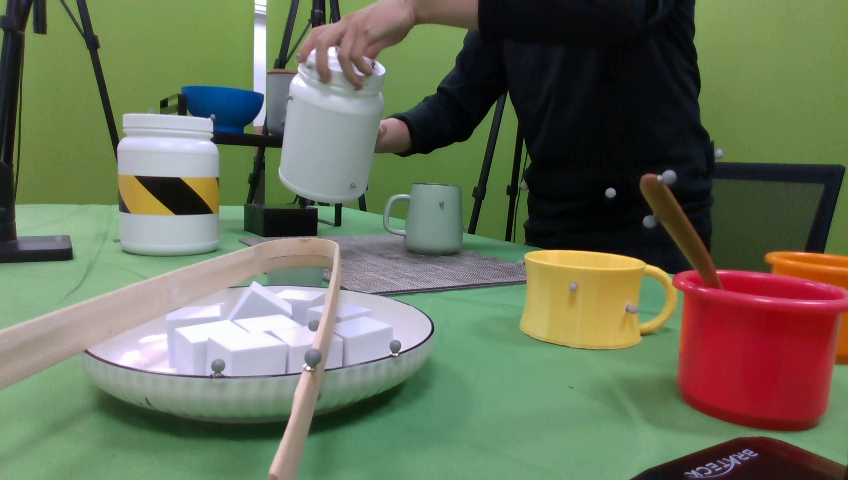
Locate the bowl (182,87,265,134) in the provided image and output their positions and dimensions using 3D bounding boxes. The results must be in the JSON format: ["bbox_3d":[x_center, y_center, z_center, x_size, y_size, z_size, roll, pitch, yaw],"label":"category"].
[{"bbox_3d":[-0.383,-0.244,1.158,0.151,0.077,0.151,2,7,0],"label":"bowl"}]

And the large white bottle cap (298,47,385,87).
[{"bbox_3d":[-0.110,-0.233,0.812,0.115,0.018,0.114,12,29,-7],"label":"large white bottle cap"}]

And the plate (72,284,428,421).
[{"bbox_3d":[-0.102,0.066,0.381,0.208,0.039,0.207,3,7,0],"label":"plate"}]

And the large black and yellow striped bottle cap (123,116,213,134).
[{"bbox_3d":[-0.353,-0.159,0.838,0.115,0.019,0.115,2,6,0],"label":"large black and yellow striped bottle cap"}]

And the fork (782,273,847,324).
[{"bbox_3d":[0.332,0.018,0.443,0.028,0.018,0.207,-3,-35,-16],"label":"fork"}]

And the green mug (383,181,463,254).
[{"bbox_3d":[-0.001,-0.036,0.922,0.126,0.105,0.092,0,8,-15],"label":"green mug"}]

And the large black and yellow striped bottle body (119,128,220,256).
[{"bbox_3d":[-0.355,-0.076,0.850,0.131,0.184,0.130,2,8,0],"label":"large black and yellow striped bottle body"}]

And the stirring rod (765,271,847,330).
[{"bbox_3d":[0.352,0.020,0.481,0.176,0.006,0.014,-40,-7,17],"label":"stirring rod"}]

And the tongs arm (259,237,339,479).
[{"bbox_3d":[-0.074,0.040,0.345,0.051,0.026,0.384,-2,9,-3],"label":"tongs arm"}]

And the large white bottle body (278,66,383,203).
[{"bbox_3d":[-0.131,-0.160,0.854,0.131,0.184,0.130,12,29,-6],"label":"large white bottle body"}]

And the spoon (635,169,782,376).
[{"bbox_3d":[0.161,0.026,0.346,0.041,0.194,0.021,10,56,53],"label":"spoon"}]

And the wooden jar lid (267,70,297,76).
[{"bbox_3d":[-0.275,-0.339,1.271,0.108,0.020,0.108,5,6,0],"label":"wooden jar lid"}]

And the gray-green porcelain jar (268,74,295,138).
[{"bbox_3d":[-0.277,-0.279,1.280,0.106,0.126,0.106,2,8,0],"label":"gray-green porcelain jar"}]

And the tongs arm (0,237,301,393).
[{"bbox_3d":[-0.158,0.039,0.347,0.028,0.028,0.388,-3,8,11],"label":"tongs arm"}]

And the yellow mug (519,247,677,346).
[{"bbox_3d":[0.148,0.045,0.513,0.131,0.064,0.100,3,7,0],"label":"yellow mug"}]

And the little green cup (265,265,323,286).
[{"bbox_3d":[-0.134,0.033,0.628,0.061,0.038,0.061,3,7,0],"label":"little green cup"}]
